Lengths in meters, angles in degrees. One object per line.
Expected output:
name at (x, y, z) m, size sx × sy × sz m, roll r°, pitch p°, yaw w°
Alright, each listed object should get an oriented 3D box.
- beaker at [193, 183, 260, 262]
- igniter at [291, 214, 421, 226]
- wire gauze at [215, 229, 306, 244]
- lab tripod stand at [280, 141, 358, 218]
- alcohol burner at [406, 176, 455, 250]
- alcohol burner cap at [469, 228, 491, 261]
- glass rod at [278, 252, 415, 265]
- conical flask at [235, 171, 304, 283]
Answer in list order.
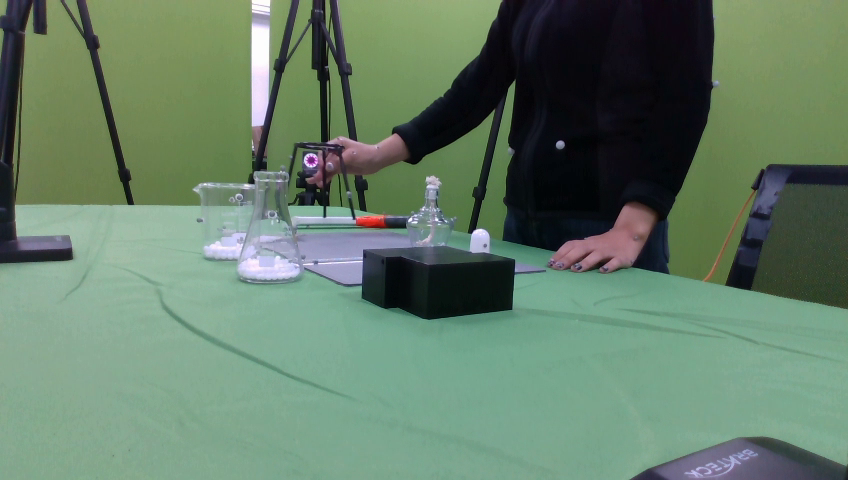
beaker at (-0.262, -0.025, 0.806) m, size 0.084 × 0.100 × 0.073 m, roll -3°, pitch 9°, yaw -30°
igniter at (-0.135, -0.041, 1.250) m, size 0.278 × 0.025 × 0.057 m, roll -1°, pitch -3°, yaw -28°
wire gauze at (-0.273, -0.009, 1.013) m, size 0.122 × 0.011 × 0.124 m, roll -2°, pitch 9°, yaw -33°
lab tripod stand at (-0.177, -0.103, 1.061) m, size 0.148 × 0.131 × 0.148 m, roll 2°, pitch 3°, yaw 0°
alcohol burner at (0.012, -0.044, 0.963) m, size 0.078 × 0.119 × 0.078 m, roll 4°, pitch 7°, yaw 0°
alcohol burner cap at (0.082, 0.006, 0.878) m, size 0.034 × 0.048 × 0.034 m, roll 3°, pitch 6°, yaw 0°
glass rod at (-0.097, 0.024, 0.805) m, size 0.201 × 0.008 × 0.008 m, roll -3°, pitch 8°, yaw -33°
conical flask at (-0.172, -0.016, 0.677) m, size 0.075 × 0.122 × 0.075 m, roll 2°, pitch 7°, yaw 0°
